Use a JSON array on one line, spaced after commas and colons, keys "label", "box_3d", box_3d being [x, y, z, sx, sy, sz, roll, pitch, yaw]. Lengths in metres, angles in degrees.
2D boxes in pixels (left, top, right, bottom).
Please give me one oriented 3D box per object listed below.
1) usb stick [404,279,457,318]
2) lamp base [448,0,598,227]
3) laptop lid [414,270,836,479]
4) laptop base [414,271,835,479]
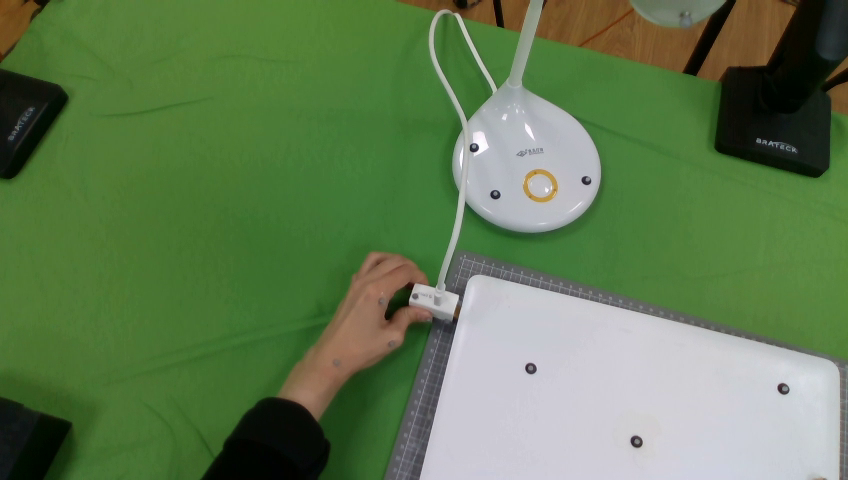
[{"label": "usb stick", "box_3d": [0.012, 0.058, 0.574, 0.059, 0.027, 0.021, 18, 62, 1]}, {"label": "lamp base", "box_3d": [0.102, -0.128, 0.584, 0.161, 0.181, 0.177, -21, 65, -11]}, {"label": "laptop lid", "box_3d": [0.181, 0.172, 0.531, 0.356, 0.013, 0.240, 15, 69, 5]}, {"label": "laptop base", "box_3d": [0.182, 0.174, 0.542, 0.354, 0.023, 0.234, 13, 70, 4]}]
